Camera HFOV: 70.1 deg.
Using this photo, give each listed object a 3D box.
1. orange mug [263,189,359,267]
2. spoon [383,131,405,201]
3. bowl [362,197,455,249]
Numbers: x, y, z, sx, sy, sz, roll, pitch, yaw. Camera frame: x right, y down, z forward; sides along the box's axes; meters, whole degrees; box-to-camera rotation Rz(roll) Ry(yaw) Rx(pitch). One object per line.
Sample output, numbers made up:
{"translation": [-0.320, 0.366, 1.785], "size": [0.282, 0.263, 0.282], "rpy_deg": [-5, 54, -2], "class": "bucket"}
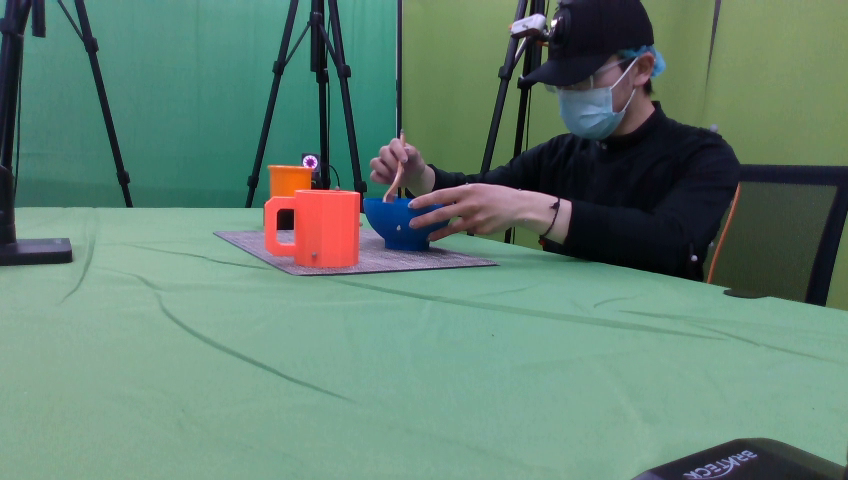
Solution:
{"translation": [-0.147, -0.019, 0.794], "size": [0.127, 0.100, 0.083], "rpy_deg": [5, 6, -19], "class": "orange mug"}
{"translation": [-0.045, -0.112, 1.014], "size": [0.021, 0.193, 0.042], "rpy_deg": [-1, -36, 18], "class": "spoon"}
{"translation": [-0.027, -0.028, 0.985], "size": [0.151, 0.077, 0.151], "rpy_deg": [2, 7, 0], "class": "bowl"}
